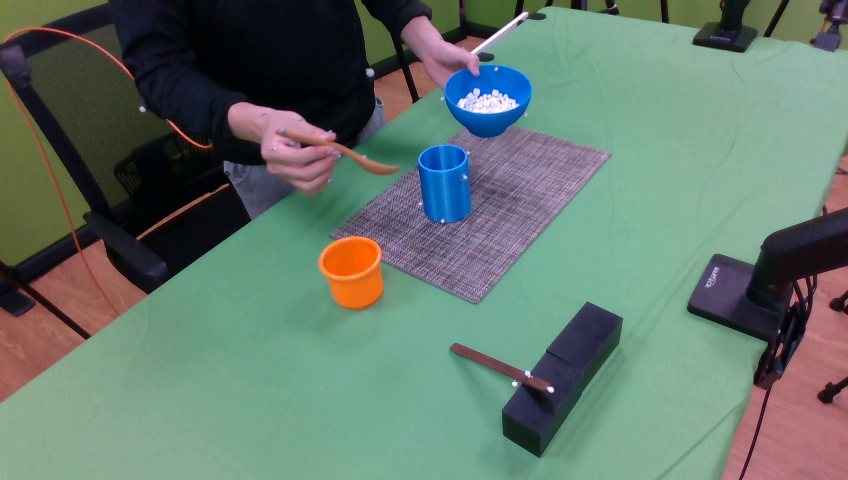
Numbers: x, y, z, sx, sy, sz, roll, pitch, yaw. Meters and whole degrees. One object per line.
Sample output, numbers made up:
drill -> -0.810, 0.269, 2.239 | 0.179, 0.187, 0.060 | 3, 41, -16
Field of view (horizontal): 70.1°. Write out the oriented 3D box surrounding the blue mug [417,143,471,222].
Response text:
blue mug -> 0.031, -0.104, 1.014 | 0.082, 0.106, 0.115 | -14, 41, -7

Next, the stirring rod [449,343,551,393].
stirring rod -> 0.088, 0.154, 0.741 | 0.014, 0.006, 0.174 | -40, 28, -25

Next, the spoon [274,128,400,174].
spoon -> -0.105, -0.111, 0.757 | 0.041, 0.195, 0.021 | 2, 80, 43

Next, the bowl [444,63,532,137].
bowl -> 0.110, -0.232, 1.047 | 0.151, 0.077, 0.150 | -2, 47, 2
